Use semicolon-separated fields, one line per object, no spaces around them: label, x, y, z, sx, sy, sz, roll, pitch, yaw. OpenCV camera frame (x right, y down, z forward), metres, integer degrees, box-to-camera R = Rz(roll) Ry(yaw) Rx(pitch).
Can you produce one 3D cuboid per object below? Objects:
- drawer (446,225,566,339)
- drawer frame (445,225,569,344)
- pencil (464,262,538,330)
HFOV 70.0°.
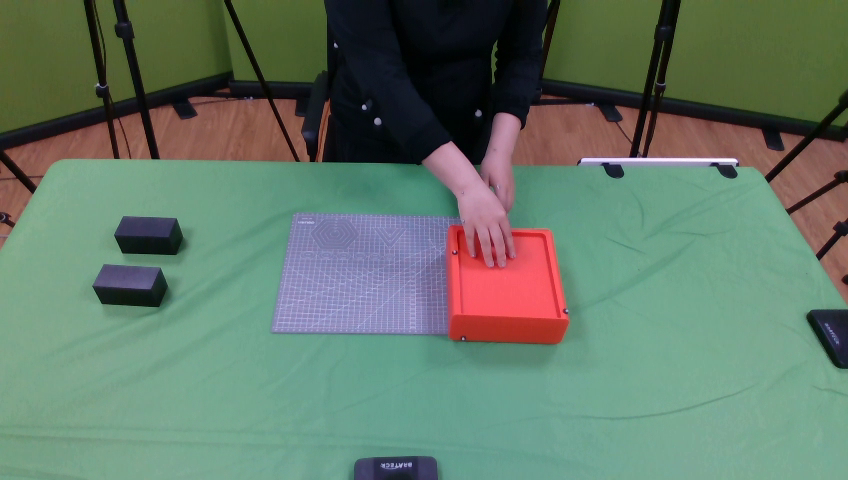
drawer;0.140;0.072;1.094;0.194;0.073;0.210;3;47;-3
drawer frame;0.141;0.076;1.089;0.202;0.083;0.212;3;46;-4
pencil;0.135;0.098;1.099;0.012;0.012;0.193;-28;54;-28
